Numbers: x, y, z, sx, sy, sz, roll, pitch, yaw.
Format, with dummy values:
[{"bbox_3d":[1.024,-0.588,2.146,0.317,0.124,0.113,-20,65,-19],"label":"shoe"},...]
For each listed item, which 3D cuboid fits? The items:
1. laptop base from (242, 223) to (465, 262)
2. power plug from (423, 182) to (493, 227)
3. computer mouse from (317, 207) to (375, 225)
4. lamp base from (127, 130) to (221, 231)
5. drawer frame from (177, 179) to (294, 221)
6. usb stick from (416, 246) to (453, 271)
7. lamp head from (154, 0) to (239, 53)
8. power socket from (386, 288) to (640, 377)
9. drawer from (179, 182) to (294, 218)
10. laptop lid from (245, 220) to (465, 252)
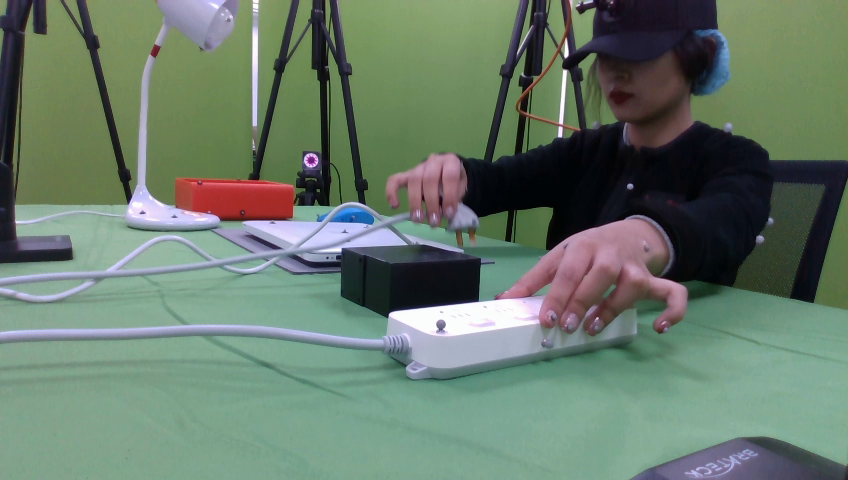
[{"bbox_3d":[-0.126,0.003,0.945,0.237,0.023,0.352,2,6,-31],"label":"laptop base"},{"bbox_3d":[0.039,-0.047,0.664,0.052,0.072,0.035,-36,4,-2],"label":"power plug"},{"bbox_3d":[-0.163,-0.048,1.264,0.118,0.041,0.062,-6,12,-29],"label":"computer mouse"},{"bbox_3d":[-0.469,-0.112,1.108,0.179,0.180,0.160,0,7,3],"label":"lamp base"},{"bbox_3d":[-0.422,-0.092,1.352,0.215,0.082,0.200,-3,10,-32],"label":"drawer frame"},{"bbox_3d":[0.010,0.024,0.755,0.027,0.021,0.059,35,-18,-16],"label":"usb stick"},{"bbox_3d":[-0.406,-0.402,1.059,0.123,0.112,0.112,25,5,-6],"label":"lamp head"},{"bbox_3d":[0.074,0.064,0.461,0.228,0.032,0.072,-3,8,-33],"label":"power socket"},{"bbox_3d":[-0.420,-0.091,1.354,0.213,0.073,0.193,-3,10,-31],"label":"drawer"},{"bbox_3d":[-0.124,-0.009,0.945,0.243,0.013,0.355,1,7,-29],"label":"laptop lid"}]
